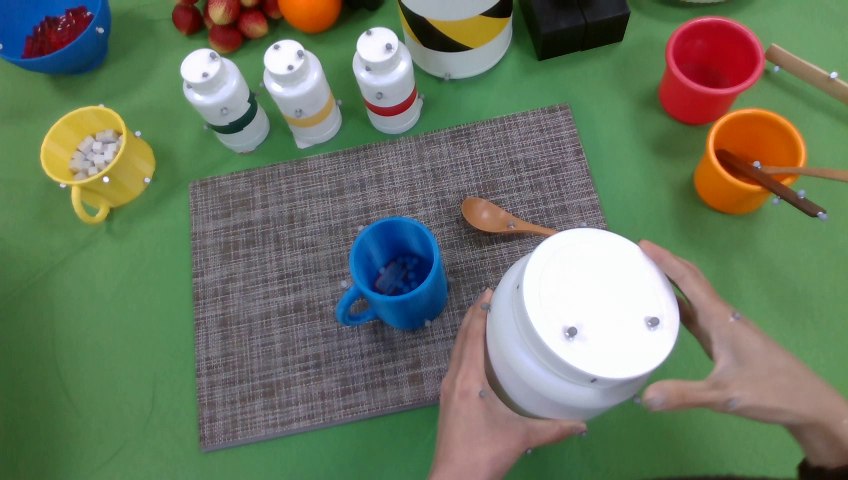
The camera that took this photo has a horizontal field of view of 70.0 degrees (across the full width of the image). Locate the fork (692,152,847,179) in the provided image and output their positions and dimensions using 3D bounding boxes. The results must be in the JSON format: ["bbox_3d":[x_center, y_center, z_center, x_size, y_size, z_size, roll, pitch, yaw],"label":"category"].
[{"bbox_3d":[0.346,-0.065,0.568,0.028,0.019,0.205,-49,28,-12],"label":"fork"}]

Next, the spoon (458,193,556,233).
[{"bbox_3d":[0.127,-0.008,0.632,0.193,0.022,0.041,18,51,11],"label":"spoon"}]

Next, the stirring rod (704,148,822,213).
[{"bbox_3d":[0.315,-0.061,0.576,0.014,0.006,0.174,-9,26,-1],"label":"stirring rod"}]

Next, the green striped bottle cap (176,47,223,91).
[{"bbox_3d":[-0.232,-0.177,0.626,0.044,0.020,0.044,-1,68,4],"label":"green striped bottle cap"}]

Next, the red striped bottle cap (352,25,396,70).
[{"bbox_3d":[-0.051,-0.196,0.615,0.044,0.018,0.044,-1,68,2],"label":"red striped bottle cap"}]

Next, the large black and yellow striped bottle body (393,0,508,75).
[{"bbox_3d":[0.027,-0.285,0.663,0.130,0.185,0.130,-2,69,5],"label":"large black and yellow striped bottle body"}]

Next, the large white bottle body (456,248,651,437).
[{"bbox_3d":[0.107,0.081,0.500,0.131,0.185,0.129,5,61,-8],"label":"large white bottle body"}]

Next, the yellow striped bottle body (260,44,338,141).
[{"bbox_3d":[-0.139,-0.167,0.669,0.063,0.121,0.062,-2,69,6],"label":"yellow striped bottle body"}]

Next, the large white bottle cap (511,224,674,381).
[{"bbox_3d":[0.119,0.041,0.426,0.115,0.018,0.114,5,61,-9],"label":"large white bottle cap"}]

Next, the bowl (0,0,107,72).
[{"bbox_3d":[-0.461,-0.267,0.761,0.151,0.077,0.150,-2,69,5],"label":"bowl"}]

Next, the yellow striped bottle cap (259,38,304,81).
[{"bbox_3d":[-0.146,-0.185,0.620,0.044,0.019,0.044,0,65,1],"label":"yellow striped bottle cap"}]

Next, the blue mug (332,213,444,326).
[{"bbox_3d":[-0.038,0.041,0.586,0.116,0.106,0.081,-36,69,-8],"label":"blue mug"}]

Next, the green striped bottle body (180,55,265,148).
[{"bbox_3d":[-0.226,-0.158,0.675,0.063,0.120,0.062,-2,69,5],"label":"green striped bottle body"}]

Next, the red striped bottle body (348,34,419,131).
[{"bbox_3d":[-0.044,-0.176,0.664,0.063,0.120,0.062,-3,68,8],"label":"red striped bottle body"}]

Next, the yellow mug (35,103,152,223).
[{"bbox_3d":[-0.377,-0.083,0.690,0.100,0.064,0.130,-3,70,5],"label":"yellow mug"}]

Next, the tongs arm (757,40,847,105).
[{"bbox_3d":[0.535,-0.117,0.629,0.382,0.027,0.050,39,74,17],"label":"tongs arm"}]
